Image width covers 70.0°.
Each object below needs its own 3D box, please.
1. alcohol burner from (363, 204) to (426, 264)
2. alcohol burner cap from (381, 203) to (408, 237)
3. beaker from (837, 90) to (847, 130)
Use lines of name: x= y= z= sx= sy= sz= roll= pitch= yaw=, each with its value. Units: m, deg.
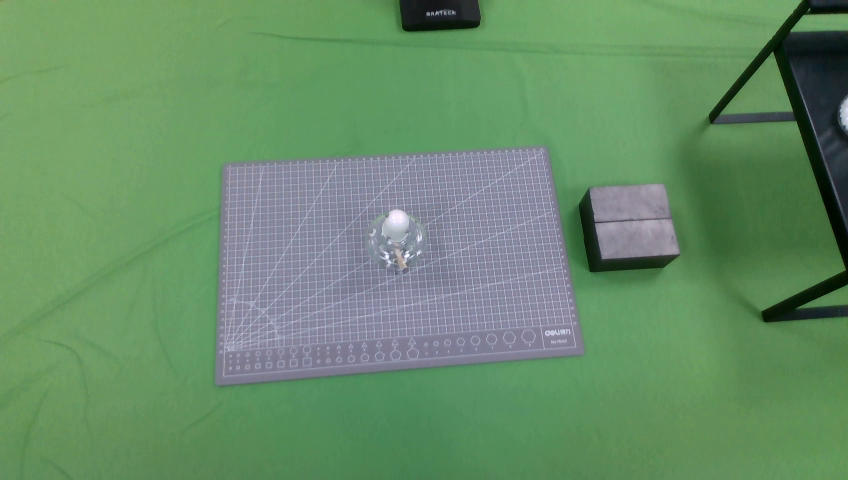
alcohol burner: x=-0.035 y=-0.014 z=0.738 sx=0.078 sy=0.119 sz=0.077 roll=2 pitch=69 yaw=-4
alcohol burner cap: x=-0.033 y=-0.025 z=0.705 sx=0.034 sy=0.048 sz=0.033 roll=2 pitch=73 yaw=-5
beaker: x=0.497 y=-0.156 z=0.637 sx=0.084 sy=0.101 sz=0.073 roll=-17 pitch=71 yaw=-8
